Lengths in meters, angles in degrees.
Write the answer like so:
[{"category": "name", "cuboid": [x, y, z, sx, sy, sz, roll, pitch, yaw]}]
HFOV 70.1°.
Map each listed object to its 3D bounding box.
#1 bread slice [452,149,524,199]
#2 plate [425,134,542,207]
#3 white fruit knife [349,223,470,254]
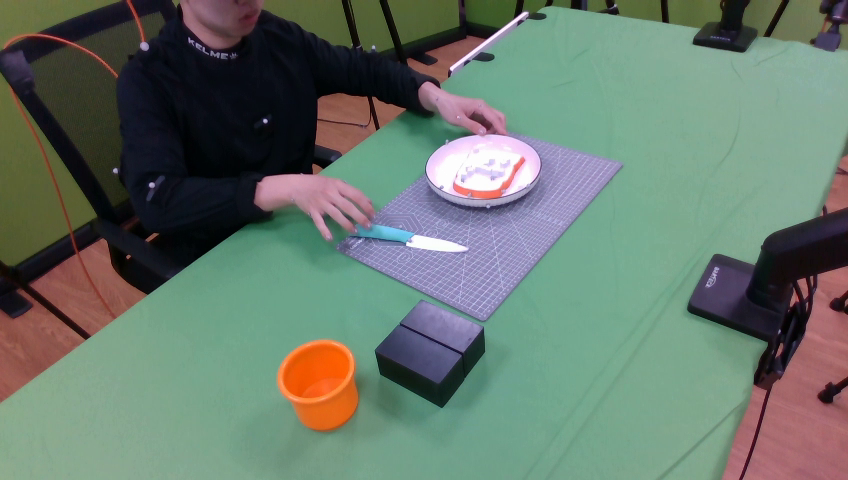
[{"category": "bread slice", "cuboid": [0.111, -0.119, 1.078, 0.104, 0.019, 0.131, 12, 43, 21]}, {"category": "plate", "cuboid": [0.106, -0.121, 1.079, 0.209, 0.038, 0.208, -4, 41, 4]}, {"category": "white fruit knife", "cuboid": [-0.025, -0.001, 0.976, 0.206, 0.016, 0.027, 11, 73, 17]}]
